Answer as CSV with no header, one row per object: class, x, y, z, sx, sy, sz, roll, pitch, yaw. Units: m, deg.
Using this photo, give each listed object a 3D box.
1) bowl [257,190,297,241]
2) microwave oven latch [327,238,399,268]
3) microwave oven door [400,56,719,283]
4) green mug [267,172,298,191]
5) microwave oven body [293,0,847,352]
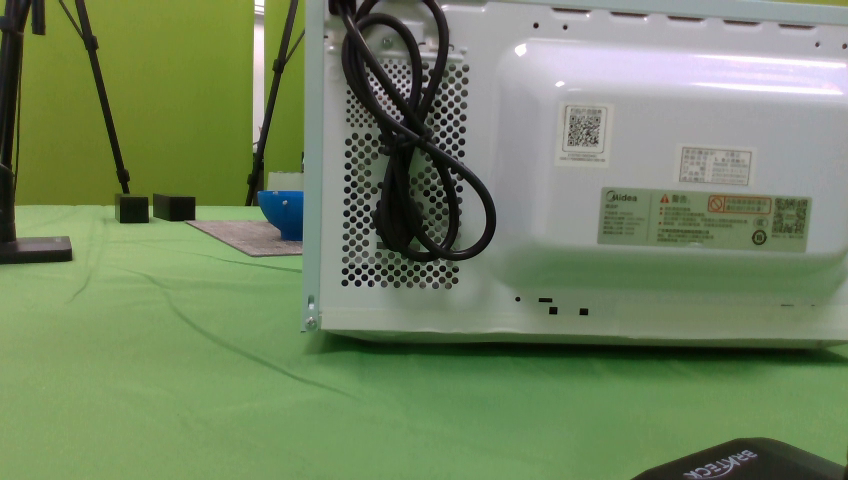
bowl,-0.207,-0.041,1.027,0.151,0.077,0.151,3,8,0
microwave oven latch,-0.069,0.015,0.694,0.079,0.029,0.030,3,7,-3
microwave oven door,0.155,-0.077,0.697,0.356,0.243,0.039,2,8,-5
green mug,-0.277,-0.090,1.276,0.092,0.105,0.126,6,8,25
microwave oven body,0.122,-0.055,0.550,0.442,0.260,0.325,3,7,-5
